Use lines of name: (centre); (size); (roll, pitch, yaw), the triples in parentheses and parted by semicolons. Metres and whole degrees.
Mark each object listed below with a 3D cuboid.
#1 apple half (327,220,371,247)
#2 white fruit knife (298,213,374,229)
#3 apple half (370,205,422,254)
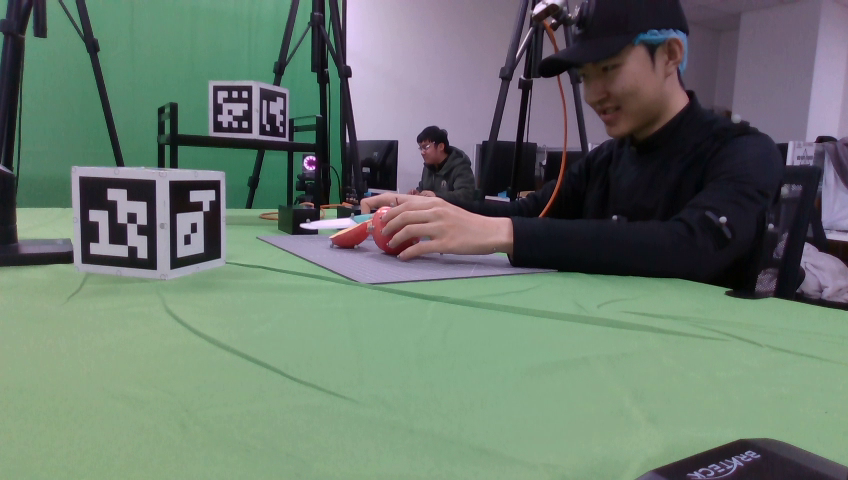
apple half: (-0.111, -0.007, 0.971); (0.081, 0.033, 0.081); (-17, 9, 3)
white fruit knife: (-0.125, -0.034, 1.087); (0.208, 0.016, 0.027); (-5, 54, -30)
apple half: (-0.035, -0.014, 0.919); (0.081, 0.074, 0.053); (2, 12, -39)
